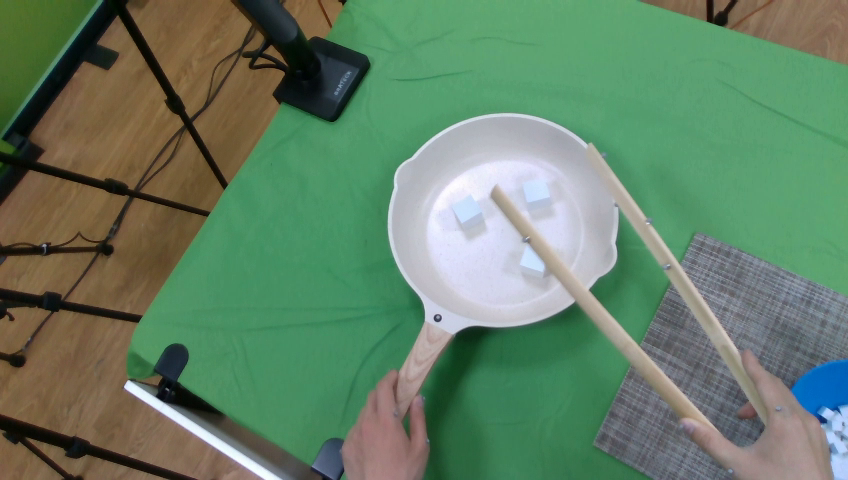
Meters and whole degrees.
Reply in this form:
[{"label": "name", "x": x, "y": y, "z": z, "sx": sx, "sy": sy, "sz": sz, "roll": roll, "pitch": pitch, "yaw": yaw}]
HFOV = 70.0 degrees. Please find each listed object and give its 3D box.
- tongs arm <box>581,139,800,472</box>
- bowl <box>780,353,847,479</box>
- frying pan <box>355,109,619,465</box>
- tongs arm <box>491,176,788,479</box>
[{"label": "tongs arm", "x": 0.254, "y": 0.050, "z": 0.624, "sx": 0.051, "sy": 0.027, "sz": 0.381, "roll": -20, "pitch": 66, "yaw": -22}, {"label": "bowl", "x": 0.450, "y": 0.201, "z": 0.645, "sx": 0.151, "sy": 0.077, "sz": 0.150, "roll": -3, "pitch": 71, "yaw": 10}, {"label": "frying pan", "x": 0.049, "y": 0.054, "z": 0.760, "sx": 0.305, "sy": 0.103, "sz": 0.486, "roll": 26, "pitch": 69, "yaw": 18}, {"label": "tongs arm", "x": 0.193, "y": 0.076, "z": 0.599, "sx": 0.028, "sy": 0.028, "sz": 0.384, "roll": -29, "pitch": 69, "yaw": -29}]
